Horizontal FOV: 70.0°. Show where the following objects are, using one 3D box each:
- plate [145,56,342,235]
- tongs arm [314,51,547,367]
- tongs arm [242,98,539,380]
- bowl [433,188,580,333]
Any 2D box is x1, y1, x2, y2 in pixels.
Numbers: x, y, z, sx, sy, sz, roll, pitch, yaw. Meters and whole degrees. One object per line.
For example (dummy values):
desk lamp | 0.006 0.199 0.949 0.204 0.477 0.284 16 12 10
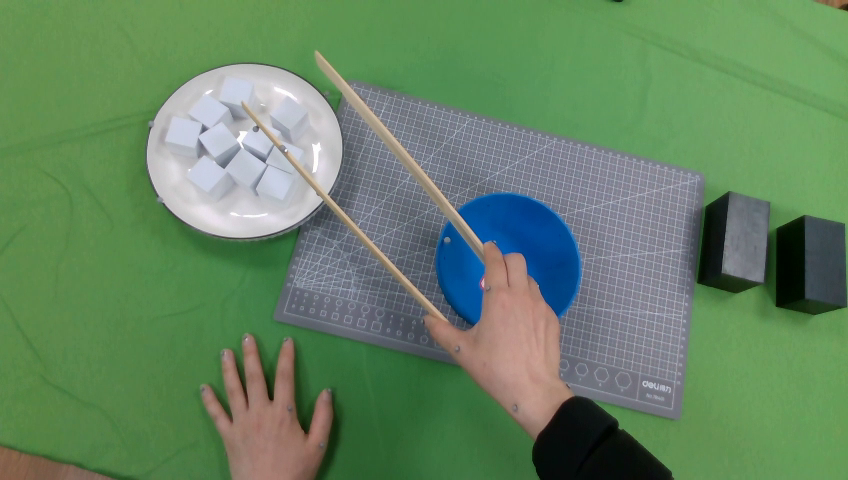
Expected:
plate | -0.194 -0.102 0.667 0.208 0.039 0.206 2 74 -5
tongs arm | -0.002 -0.043 0.580 0.028 0.028 0.385 -33 74 -16
tongs arm | -0.042 -0.013 0.569 0.051 0.027 0.382 -37 74 -14
bowl | 0.079 0.029 0.641 0.152 0.077 0.150 2 74 -7
